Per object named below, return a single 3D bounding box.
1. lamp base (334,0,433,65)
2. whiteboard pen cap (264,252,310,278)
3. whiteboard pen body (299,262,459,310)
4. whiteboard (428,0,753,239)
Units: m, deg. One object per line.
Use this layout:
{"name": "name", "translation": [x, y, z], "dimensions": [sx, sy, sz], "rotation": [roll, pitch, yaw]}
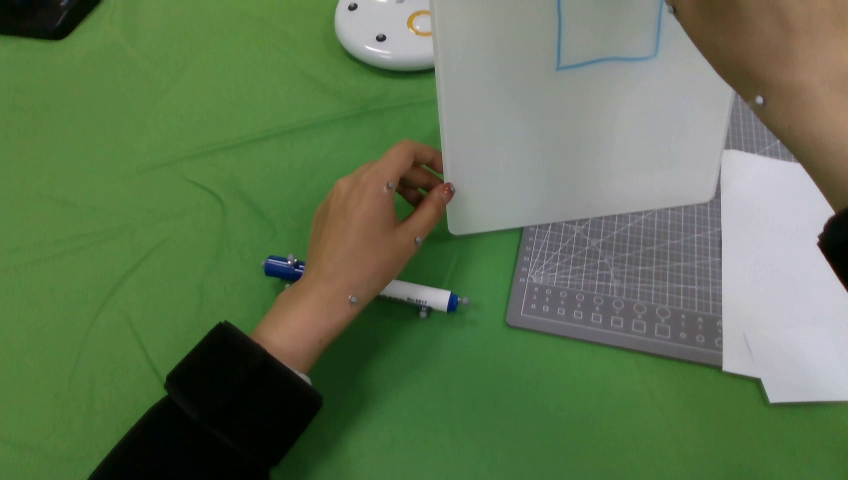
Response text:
{"name": "lamp base", "translation": [-0.026, -0.292, 0.585], "dimensions": [0.161, 0.182, 0.177], "rotation": [-30, 56, -18]}
{"name": "whiteboard pen cap", "translation": [-0.101, 0.019, 0.455], "dimensions": [0.033, 0.018, 0.018], "rotation": [10, 55, 7]}
{"name": "whiteboard pen body", "translation": [-0.044, 0.031, 0.445], "dimensions": [0.140, 0.017, 0.017], "rotation": [10, 55, 8]}
{"name": "whiteboard", "translation": [0.107, -0.178, 0.455], "dimensions": [0.217, 0.308, 0.142], "rotation": [-7, 35, -1]}
